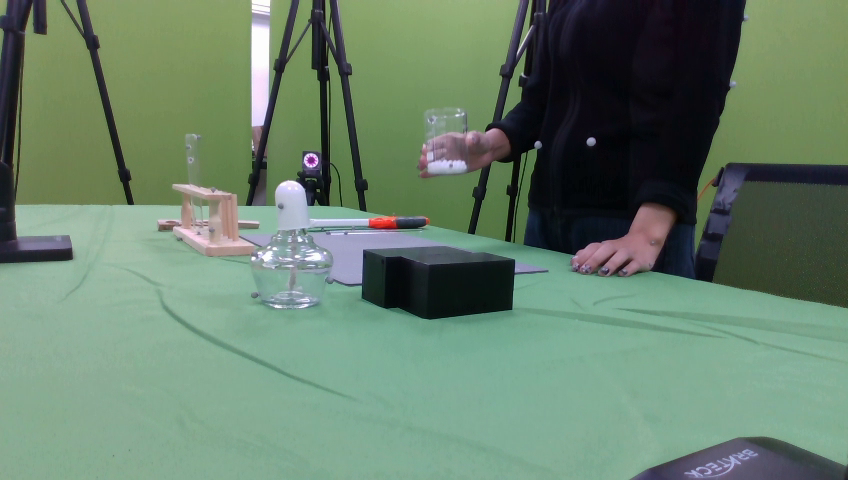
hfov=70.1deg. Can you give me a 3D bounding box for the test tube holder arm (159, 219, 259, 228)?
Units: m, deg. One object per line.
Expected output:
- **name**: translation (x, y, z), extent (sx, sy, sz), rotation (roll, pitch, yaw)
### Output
- **test tube holder arm**: translation (-0.390, -0.030, 1.107), extent (0.179, 0.015, 0.013), rotation (-3, 44, -39)

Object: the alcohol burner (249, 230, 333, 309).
- **alcohol burner**: translation (-0.125, 0.004, 0.568), extent (0.078, 0.119, 0.078), rotation (2, 10, 0)

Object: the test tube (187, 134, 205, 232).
- **test tube**: translation (-0.350, -0.087, 0.928), extent (0.017, 0.150, 0.017), rotation (-3, 5, 1)

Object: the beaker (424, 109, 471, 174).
- **beaker**: translation (0.037, -0.159, 0.989), extent (0.083, 0.100, 0.074), rotation (2, 7, 44)

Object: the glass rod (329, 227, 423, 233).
- **glass rod**: translation (-0.087, -0.020, 1.148), extent (0.201, 0.008, 0.008), rotation (-3, 8, -32)

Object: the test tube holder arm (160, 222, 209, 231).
- **test tube holder arm**: translation (-0.423, -0.024, 1.075), extent (0.088, 0.015, 0.010), rotation (-3, 44, -38)

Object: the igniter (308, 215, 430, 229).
- **igniter**: translation (-0.109, -0.037, 1.228), extent (0.278, 0.025, 0.057), rotation (-3, -1, -35)

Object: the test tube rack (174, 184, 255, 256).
- **test tube rack**: translation (-0.327, -0.036, 0.928), extent (0.067, 0.085, 0.241), rotation (-2, 9, -32)

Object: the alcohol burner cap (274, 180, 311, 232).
- **alcohol burner cap**: translation (-0.125, -0.032, 0.564), extent (0.034, 0.048, 0.034), rotation (-5, 6, 1)
